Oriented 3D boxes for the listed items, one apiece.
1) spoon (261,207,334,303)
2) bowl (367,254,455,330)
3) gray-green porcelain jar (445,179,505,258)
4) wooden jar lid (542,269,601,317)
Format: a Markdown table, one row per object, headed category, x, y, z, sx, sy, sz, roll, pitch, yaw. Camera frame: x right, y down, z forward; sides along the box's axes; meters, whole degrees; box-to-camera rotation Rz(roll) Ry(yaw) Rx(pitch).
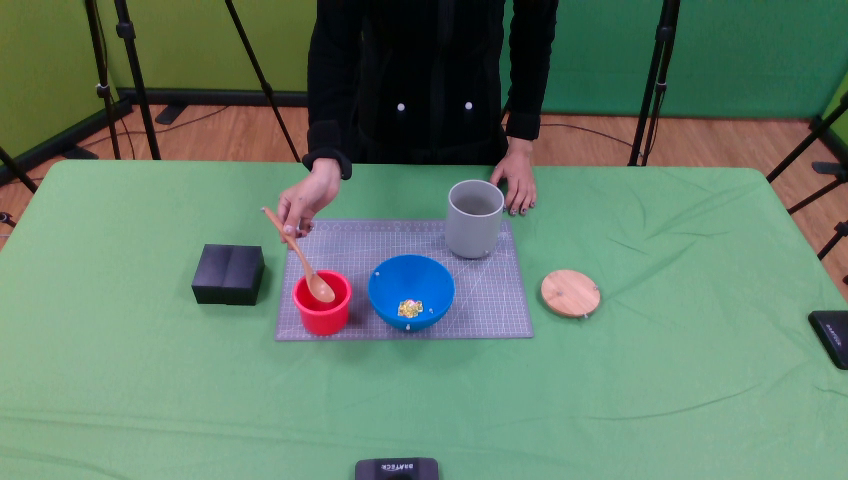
| category | x | y | z | sx | sy | sz | roll | pitch | yaw |
| --- | --- | --- | --- | --- | --- | --- | --- | --- | --- |
| spoon | -0.211 | 0.024 | 1.011 | 0.194 | 0.021 | 0.041 | 59 | 35 | -6 |
| bowl | -0.023 | 0.104 | 1.053 | 0.151 | 0.077 | 0.150 | 2 | 46 | -2 |
| gray-green porcelain jar | 0.095 | -0.037 | 1.162 | 0.106 | 0.127 | 0.105 | 2 | 46 | -2 |
| wooden jar lid | 0.272 | 0.100 | 1.121 | 0.108 | 0.021 | 0.107 | 3 | 47 | -3 |
